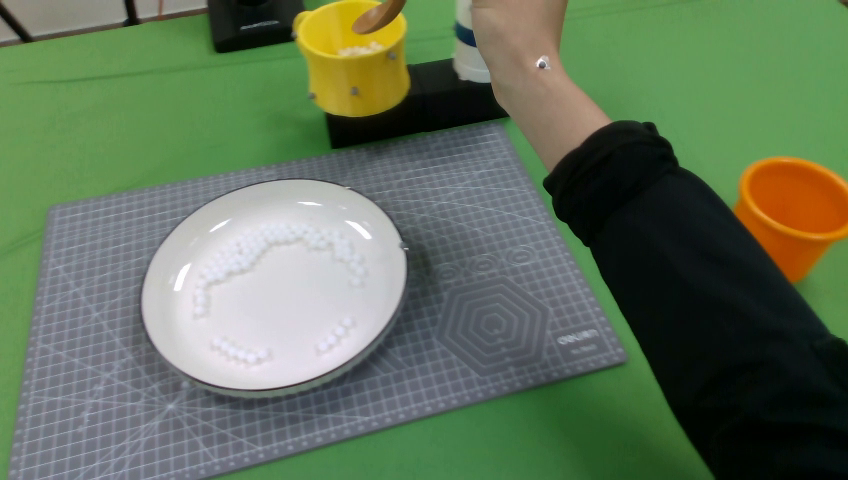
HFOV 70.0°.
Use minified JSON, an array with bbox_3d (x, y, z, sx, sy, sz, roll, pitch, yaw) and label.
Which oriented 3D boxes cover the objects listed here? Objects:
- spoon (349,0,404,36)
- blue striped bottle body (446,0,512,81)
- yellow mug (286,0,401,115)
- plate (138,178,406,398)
[{"bbox_3d":[0.000,-0.201,0.442,0.022,0.193,0.041,41,56,-18],"label":"spoon"},{"bbox_3d":[0.053,-0.220,0.582,0.063,0.122,0.062,0,51,1],"label":"blue striped bottle body"},{"bbox_3d":[-0.086,-0.184,0.589,0.130,0.064,0.099,27,56,23],"label":"yellow mug"},{"bbox_3d":[-0.117,0.035,0.491,0.208,0.039,0.205,0,51,0],"label":"plate"}]
